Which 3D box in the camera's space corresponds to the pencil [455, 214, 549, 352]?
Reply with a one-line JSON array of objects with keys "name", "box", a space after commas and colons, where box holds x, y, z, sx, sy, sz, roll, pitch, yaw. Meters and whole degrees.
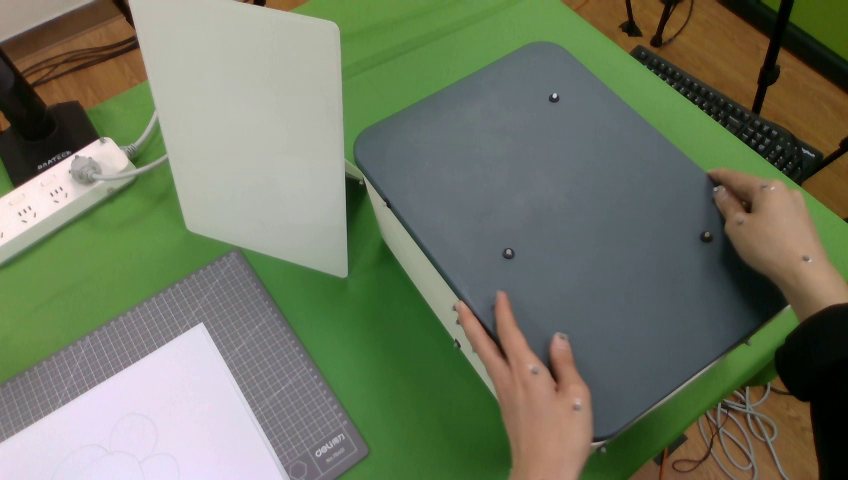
[{"name": "pencil", "box": [0.087, 0.046, 0.691, 0.012, 0.012, 0.192, -27, 68, -12]}]

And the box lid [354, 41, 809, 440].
[{"name": "box lid", "box": [0.127, -0.034, 0.558, 0.263, 0.015, 0.368, -31, 63, -15]}]

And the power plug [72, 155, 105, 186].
[{"name": "power plug", "box": [-0.411, -0.075, 0.749, 0.035, 0.053, 0.072, -29, 64, -13]}]

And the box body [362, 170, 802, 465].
[{"name": "box body", "box": [0.130, 0.012, 0.624, 0.254, 0.162, 0.360, -30, 63, -14]}]

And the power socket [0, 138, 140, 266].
[{"name": "power socket", "box": [-0.468, -0.051, 0.765, 0.226, 0.033, 0.071, -38, 66, -18]}]

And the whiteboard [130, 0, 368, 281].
[{"name": "whiteboard", "box": [-0.158, -0.135, 0.677, 0.216, 0.308, 0.143, 16, 43, 13]}]
